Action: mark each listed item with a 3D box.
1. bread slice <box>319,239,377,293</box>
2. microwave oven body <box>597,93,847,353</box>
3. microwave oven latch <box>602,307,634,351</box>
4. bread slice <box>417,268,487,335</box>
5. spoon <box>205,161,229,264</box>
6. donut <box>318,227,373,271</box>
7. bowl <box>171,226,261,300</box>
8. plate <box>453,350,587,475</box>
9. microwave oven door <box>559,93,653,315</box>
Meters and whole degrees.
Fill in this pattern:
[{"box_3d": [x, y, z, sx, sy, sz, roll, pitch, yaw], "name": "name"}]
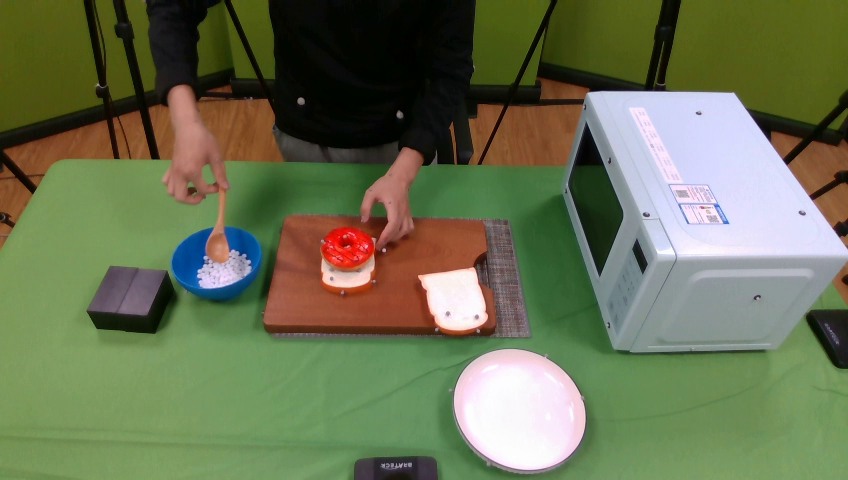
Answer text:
[{"box_3d": [-0.140, 0.044, 1.111, 0.105, 0.019, 0.130, 0, 44, -3], "name": "bread slice"}, {"box_3d": [0.475, -0.041, 1.109, 0.326, 0.261, 0.438, -1, 45, -4], "name": "microwave oven body"}, {"box_3d": [0.332, 0.153, 1.044, 0.030, 0.029, 0.078, -1, 45, -4], "name": "microwave oven latch"}, {"box_3d": [0.055, 0.107, 1.063, 0.107, 0.018, 0.133, -9, 48, -12], "name": "bread slice"}, {"box_3d": [-0.356, -0.051, 1.060, 0.042, 0.021, 0.193, 10, 72, -33], "name": "spoon"}, {"box_3d": [-0.142, 0.017, 1.096, 0.099, 0.048, 0.098, 2, 45, -2], "name": "donut"}, {"box_3d": [-0.363, 0.054, 1.081, 0.151, 0.077, 0.150, 3, 45, -3], "name": "bowl"}, {"box_3d": [0.147, 0.267, 0.943, 0.208, 0.039, 0.206, 2, 45, -2], "name": "plate"}, {"box_3d": [0.327, -0.074, 1.123, 0.039, 0.245, 0.353, -1, 46, -5], "name": "microwave oven door"}]
